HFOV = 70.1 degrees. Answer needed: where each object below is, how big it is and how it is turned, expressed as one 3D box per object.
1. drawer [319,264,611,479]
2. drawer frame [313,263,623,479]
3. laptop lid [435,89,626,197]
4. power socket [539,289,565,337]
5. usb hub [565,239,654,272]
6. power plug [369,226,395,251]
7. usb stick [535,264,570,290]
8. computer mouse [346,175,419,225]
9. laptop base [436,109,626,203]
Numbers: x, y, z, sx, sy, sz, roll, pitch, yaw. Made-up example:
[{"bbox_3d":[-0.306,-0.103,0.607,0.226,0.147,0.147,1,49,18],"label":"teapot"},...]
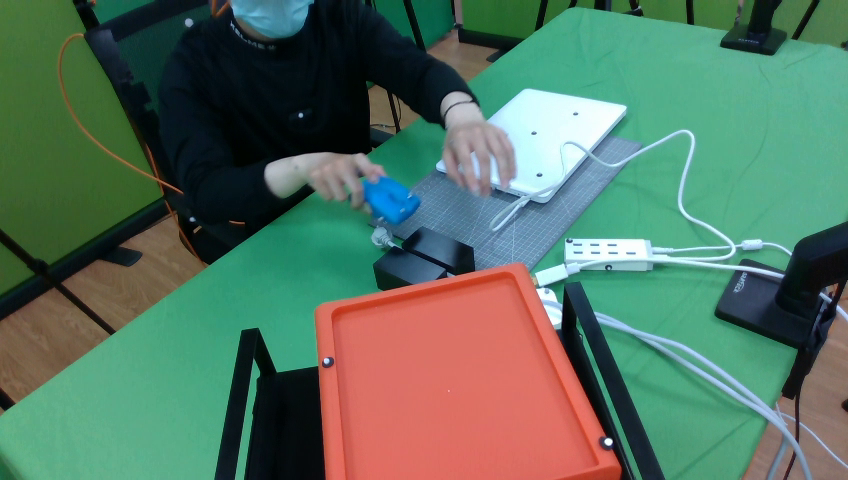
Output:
[{"bbox_3d":[0.020,0.129,0.497,0.195,0.073,0.210,-11,41,-5],"label":"drawer"},{"bbox_3d":[0.021,0.130,0.493,0.202,0.083,0.212,-11,41,-6],"label":"drawer frame"},{"bbox_3d":[0.211,-0.202,1.165,0.240,0.013,0.358,21,47,32],"label":"laptop lid"},{"bbox_3d":[0.081,0.112,0.822,0.227,0.033,0.072,-7,41,0],"label":"power socket"},{"bbox_3d":[0.275,0.022,0.906,0.125,0.025,0.049,1,41,9],"label":"usb hub"},{"bbox_3d":[-0.064,0.008,0.956,0.035,0.053,0.072,-24,51,1],"label":"power plug"},{"bbox_3d":[0.180,0.058,0.876,0.059,0.027,0.021,-32,88,-6],"label":"usb stick"},{"bbox_3d":[-0.066,-0.064,0.934,0.116,0.041,0.063,27,53,34],"label":"computer mouse"},{"bbox_3d":[0.214,-0.193,1.172,0.233,0.023,0.355,19,46,32],"label":"laptop base"}]
